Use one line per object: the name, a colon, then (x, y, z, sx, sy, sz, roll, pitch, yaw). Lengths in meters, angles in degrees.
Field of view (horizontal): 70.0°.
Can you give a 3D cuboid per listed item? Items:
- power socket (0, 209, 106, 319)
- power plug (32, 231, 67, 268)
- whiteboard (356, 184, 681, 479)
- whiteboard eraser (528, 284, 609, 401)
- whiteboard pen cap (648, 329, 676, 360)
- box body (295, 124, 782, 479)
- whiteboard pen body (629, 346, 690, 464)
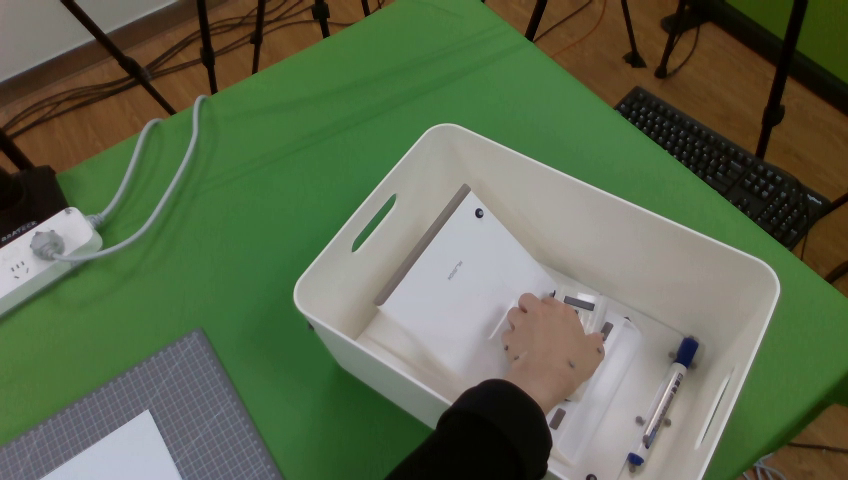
power socket: (-0.500, 0.043, 0.740, 0.226, 0.033, 0.071, -37, 63, -18)
power plug: (-0.443, 0.020, 0.724, 0.035, 0.053, 0.072, -28, 66, -13)
whiteboard: (0.092, 0.079, 0.609, 0.303, 0.145, 0.216, 27, 61, 20)
whiteboard eraser: (0.146, 0.102, 0.609, 0.055, 0.042, 0.112, 14, 59, 20)
whiteboard pen cap: (0.251, 0.111, 0.641, 0.018, 0.018, 0.033, 30, 65, 22)
box body: (0.099, 0.081, 0.593, 0.362, 0.162, 0.253, 28, 64, 20)
whiteboard pen body: (0.242, 0.163, 0.614, 0.017, 0.017, 0.140, 28, 63, 20)
